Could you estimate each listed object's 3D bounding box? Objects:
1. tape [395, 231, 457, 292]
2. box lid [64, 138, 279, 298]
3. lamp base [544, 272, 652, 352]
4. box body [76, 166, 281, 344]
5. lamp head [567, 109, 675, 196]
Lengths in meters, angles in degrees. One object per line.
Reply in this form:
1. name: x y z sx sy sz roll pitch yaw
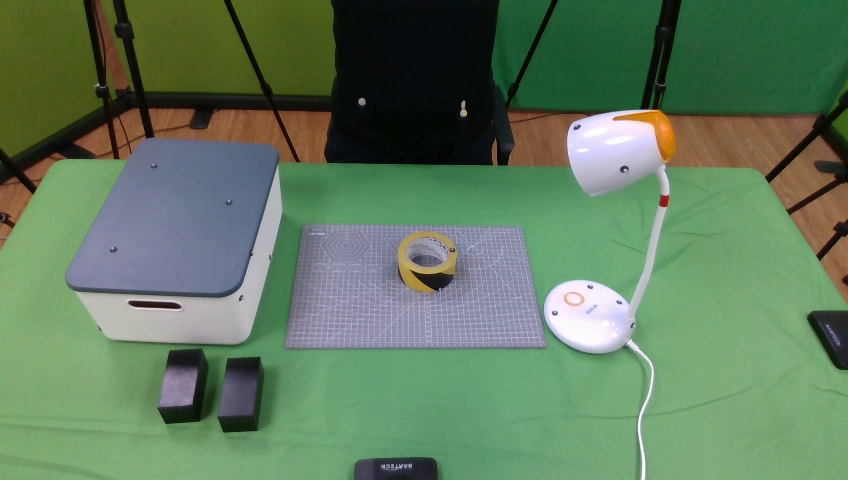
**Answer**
1. tape: 0.004 0.039 1.136 0.117 0.053 0.116 2 46 -2
2. box lid: -0.404 -0.051 1.016 0.263 0.015 0.369 3 46 -2
3. lamp base: 0.309 0.086 1.029 0.178 0.181 0.160 32 52 21
4. box body: -0.406 -0.002 1.071 0.254 0.161 0.361 2 46 -2
5. lamp head: 0.272 -0.123 0.818 0.122 0.113 0.112 -9 35 37
